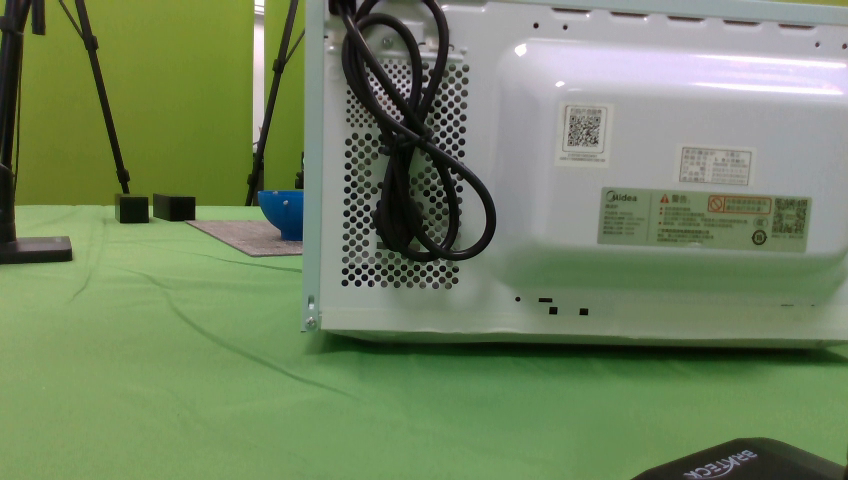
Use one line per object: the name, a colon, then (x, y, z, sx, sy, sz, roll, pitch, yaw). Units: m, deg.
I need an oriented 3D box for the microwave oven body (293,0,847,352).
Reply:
microwave oven body: (0.122, -0.055, 0.550, 0.442, 0.260, 0.325, 3, 7, -5)

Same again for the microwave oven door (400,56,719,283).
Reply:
microwave oven door: (0.155, -0.077, 0.698, 0.356, 0.243, 0.039, 2, 8, -5)

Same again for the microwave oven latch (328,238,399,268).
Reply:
microwave oven latch: (-0.069, 0.015, 0.694, 0.079, 0.029, 0.030, 3, 7, -3)

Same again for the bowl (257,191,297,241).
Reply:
bowl: (-0.206, -0.041, 1.027, 0.151, 0.077, 0.151, 3, 8, 0)
